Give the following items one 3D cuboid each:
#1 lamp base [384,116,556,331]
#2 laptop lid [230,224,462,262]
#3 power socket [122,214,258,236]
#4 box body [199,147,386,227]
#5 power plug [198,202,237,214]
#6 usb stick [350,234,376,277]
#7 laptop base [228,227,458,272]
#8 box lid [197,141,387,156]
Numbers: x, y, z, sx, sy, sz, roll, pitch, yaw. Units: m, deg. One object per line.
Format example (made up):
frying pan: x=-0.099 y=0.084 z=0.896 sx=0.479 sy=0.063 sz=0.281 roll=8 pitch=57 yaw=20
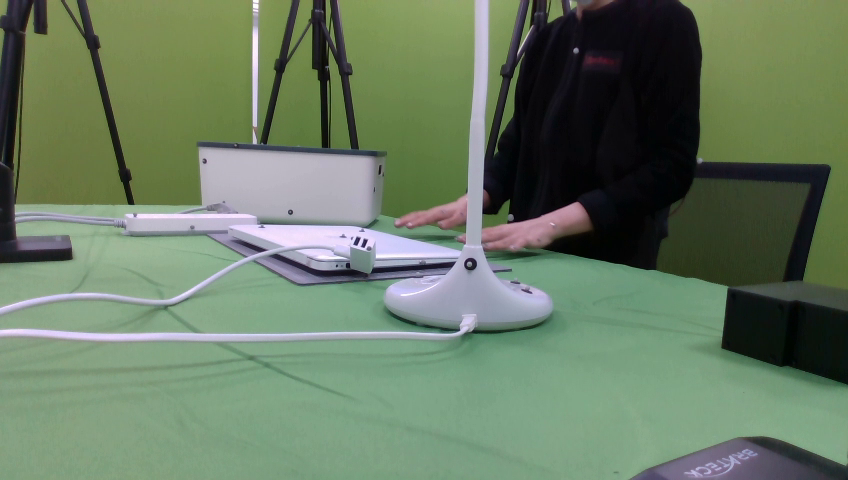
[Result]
lamp base: x=0.046 y=-0.019 z=0.545 sx=0.161 sy=0.180 sz=0.179 roll=2 pitch=10 yaw=-4
laptop lid: x=-0.119 y=0.000 z=0.888 sx=0.243 sy=0.013 sz=0.355 roll=1 pitch=7 yaw=-33
power socket: x=-0.399 y=-0.028 z=1.050 sx=0.228 sy=0.032 sz=0.072 roll=-3 pitch=7 yaw=-33
box body: x=-0.277 y=-0.124 z=1.334 sx=0.364 sy=0.160 sz=0.254 roll=3 pitch=7 yaw=1
power plug: x=-0.391 y=-0.046 z=1.164 sx=0.072 sy=0.052 sz=0.035 roll=-12 pitch=3 yaw=27
usb stick: x=-0.069 y=0.020 z=0.689 sx=0.027 sy=0.059 sz=0.021 roll=12 pitch=53 yaw=8
laptop base: x=-0.122 y=0.011 z=0.889 sx=0.237 sy=0.023 sz=0.352 roll=2 pitch=6 yaw=-35
box lid: x=-0.275 y=-0.198 z=1.325 sx=0.372 sy=0.015 sz=0.263 roll=3 pitch=8 yaw=1
